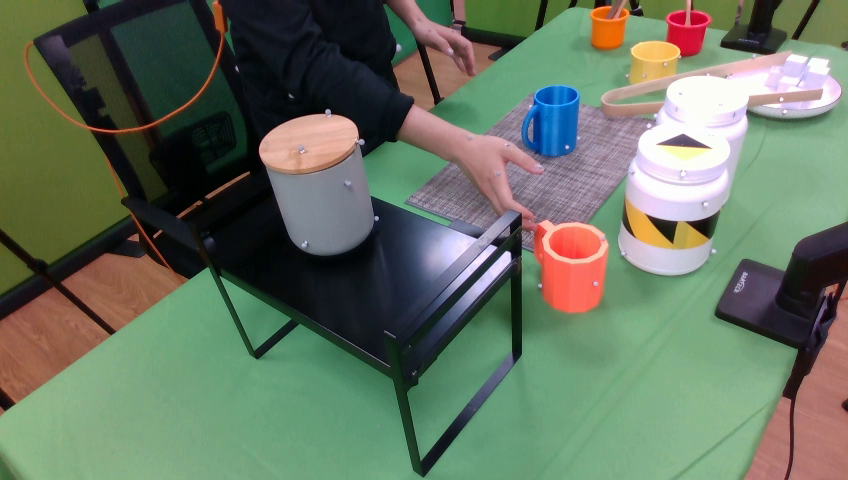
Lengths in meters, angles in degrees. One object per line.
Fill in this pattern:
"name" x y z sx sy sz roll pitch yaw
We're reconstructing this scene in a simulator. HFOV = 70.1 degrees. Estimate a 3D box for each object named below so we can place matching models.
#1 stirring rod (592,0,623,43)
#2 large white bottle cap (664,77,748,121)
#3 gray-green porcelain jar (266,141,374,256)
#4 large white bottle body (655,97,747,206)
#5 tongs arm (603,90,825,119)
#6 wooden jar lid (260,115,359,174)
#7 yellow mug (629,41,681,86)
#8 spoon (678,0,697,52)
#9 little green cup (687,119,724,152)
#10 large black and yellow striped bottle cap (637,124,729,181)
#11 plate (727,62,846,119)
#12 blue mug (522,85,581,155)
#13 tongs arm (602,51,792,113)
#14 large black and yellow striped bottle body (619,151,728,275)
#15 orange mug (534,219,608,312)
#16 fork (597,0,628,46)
"stirring rod" 0.460 -0.557 1.461 0.014 0.176 0.006 36 11 23
"large white bottle cap" 0.421 -0.212 0.905 0.115 0.018 0.114 -4 40 4
"gray-green porcelain jar" -0.117 -0.054 0.703 0.106 0.127 0.105 -4 40 4
"large white bottle body" 0.430 -0.148 0.959 0.130 0.185 0.130 -4 41 4
"tongs arm" 0.546 -0.262 1.163 0.386 0.028 0.028 -1 49 18
"wooden jar lid" -0.124 -0.101 0.662 0.108 0.021 0.108 -4 41 4
"yellow mug" 0.495 -0.389 1.321 0.100 0.064 0.130 -14 40 -6
"spoon" 0.614 -0.526 1.402 0.041 0.022 0.193 3 86 11
"little green cup" 0.514 -0.191 1.109 0.061 0.039 0.061 -5 40 5
"large black and yellow striped bottle cap" 0.346 -0.119 0.810 0.115 0.019 0.114 -5 41 5
"plate" 0.709 -0.292 1.197 0.207 0.039 0.206 -4 40 4
"blue mug" 0.233 -0.218 1.127 0.117 0.106 0.081 -23 43 -16
"tongs arm" 0.552 -0.319 1.224 0.384 0.027 0.050 -11 44 7
"large black and yellow striped bottle body" 0.354 -0.056 0.865 0.131 0.185 0.130 -4 41 4
"orange mug" 0.200 0.027 0.858 0.084 0.101 0.125 -24 47 -18
"fork" 0.479 -0.558 1.455 0.028 0.019 0.207 35 100 38
